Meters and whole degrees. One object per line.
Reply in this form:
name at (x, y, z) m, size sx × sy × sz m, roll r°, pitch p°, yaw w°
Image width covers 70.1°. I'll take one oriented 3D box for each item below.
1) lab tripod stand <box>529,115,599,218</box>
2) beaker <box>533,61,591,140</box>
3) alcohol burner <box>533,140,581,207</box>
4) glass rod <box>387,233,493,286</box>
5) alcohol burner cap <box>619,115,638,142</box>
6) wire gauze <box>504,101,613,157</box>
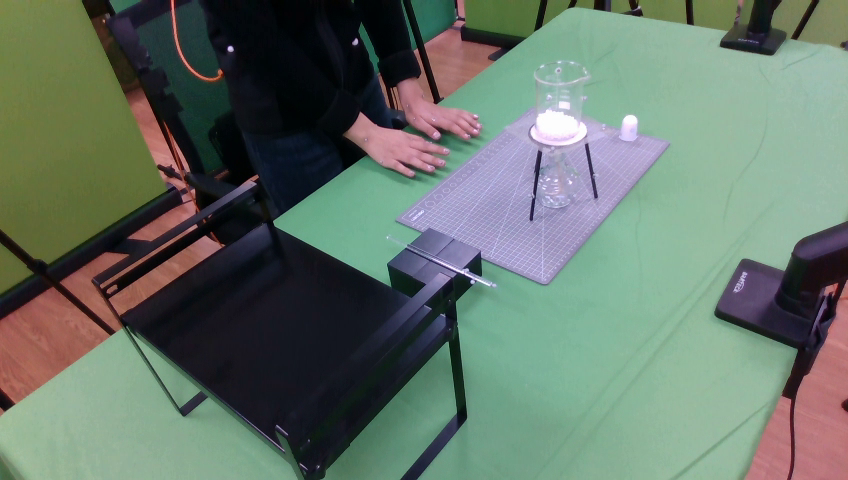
lab tripod stand at (0.217, -0.123, 0.995) m, size 0.148 × 0.132 × 0.147 m, roll -4°, pitch 43°, yaw 4°
beaker at (0.208, -0.210, 0.922) m, size 0.083 × 0.101 × 0.074 m, roll 5°, pitch 44°, yaw 14°
alcohol burner at (0.220, -0.114, 0.999) m, size 0.078 × 0.119 × 0.077 m, roll -6°, pitch 42°, yaw 5°
glass rod at (0.018, 0.027, 0.878) m, size 0.198 × 0.008 × 0.008 m, roll 25°, pitch 50°, yaw 33°
alcohol burner cap at (0.388, -0.214, 1.145) m, size 0.034 × 0.048 × 0.033 m, roll -3°, pitch 40°, yaw 3°
wire gauze at (0.211, -0.175, 0.956) m, size 0.125 × 0.011 × 0.120 m, roll -26°, pitch 43°, yaw -17°
